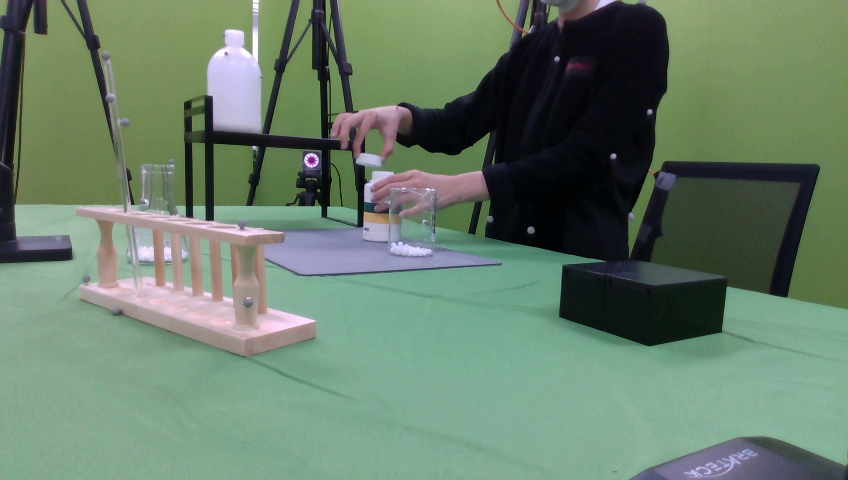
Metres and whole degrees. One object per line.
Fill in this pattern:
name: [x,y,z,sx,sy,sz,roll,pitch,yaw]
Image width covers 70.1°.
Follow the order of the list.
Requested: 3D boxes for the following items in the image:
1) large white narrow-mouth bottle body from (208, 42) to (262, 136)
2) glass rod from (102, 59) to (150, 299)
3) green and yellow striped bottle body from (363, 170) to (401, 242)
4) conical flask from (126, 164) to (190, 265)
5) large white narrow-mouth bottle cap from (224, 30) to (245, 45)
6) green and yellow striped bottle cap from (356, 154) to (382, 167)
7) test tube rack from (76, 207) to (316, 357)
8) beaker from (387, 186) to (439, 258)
large white narrow-mouth bottle body: [-0.368,-0.304,1.181,0.102,0.194,0.101,2,9,0]
glass rod: [-0.243,-0.045,0.496,0.008,0.199,0.008,-4,13,1]
green and yellow striped bottle body: [-0.072,-0.059,1.036,0.063,0.119,0.063,2,7,0]
conical flask: [-0.332,-0.033,0.756,0.075,0.122,0.075,2,7,0]
large white narrow-mouth bottle cap: [-0.365,-0.389,1.166,0.038,0.024,0.037,2,9,0]
green and yellow striped bottle cap: [-0.095,-0.138,1.053,0.045,0.020,0.045,5,1,0]
test tube rack: [-0.196,0.023,0.500,0.241,0.085,0.067,8,9,36]
beaker: [-0.015,-0.027,0.885,0.074,0.100,0.083,-1,8,-20]
